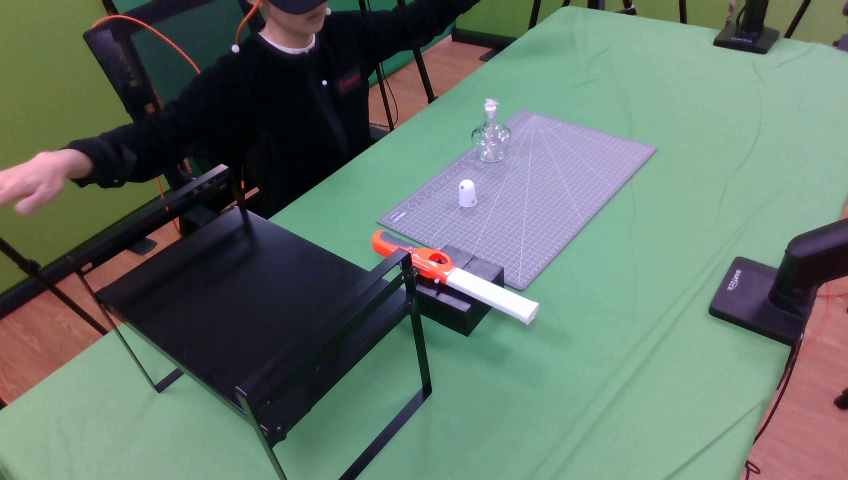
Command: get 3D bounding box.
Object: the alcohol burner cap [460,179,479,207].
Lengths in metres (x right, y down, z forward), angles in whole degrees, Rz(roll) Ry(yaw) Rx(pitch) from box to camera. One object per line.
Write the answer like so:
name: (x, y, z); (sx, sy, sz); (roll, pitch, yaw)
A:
alcohol burner cap: (0.078, -0.083, 1.041); (0.034, 0.048, 0.033); (-5, 42, 5)

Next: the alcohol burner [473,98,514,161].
alcohol burner: (0.127, -0.208, 1.123); (0.078, 0.119, 0.077); (-5, 39, 5)

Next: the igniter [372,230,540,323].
igniter: (0.032, 0.045, 0.842); (0.274, 0.025, 0.057); (24, 47, 28)
